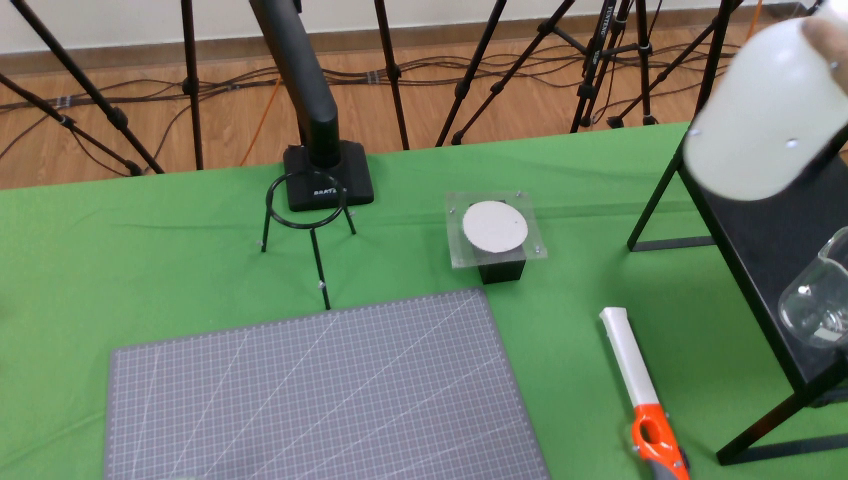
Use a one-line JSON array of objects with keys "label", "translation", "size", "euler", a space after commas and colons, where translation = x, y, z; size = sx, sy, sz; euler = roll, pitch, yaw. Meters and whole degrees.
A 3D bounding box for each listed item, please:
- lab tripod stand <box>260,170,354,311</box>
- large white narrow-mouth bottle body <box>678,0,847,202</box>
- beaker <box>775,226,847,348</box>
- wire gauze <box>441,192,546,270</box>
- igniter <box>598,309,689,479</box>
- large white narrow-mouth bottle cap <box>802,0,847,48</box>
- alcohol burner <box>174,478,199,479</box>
[{"label": "lab tripod stand", "translation": [-0.139, -0.006, 0.742], "size": [0.148, 0.132, 0.147], "euler": [4, 53, -4]}, {"label": "large white narrow-mouth bottle body", "translation": [0.292, -0.118, 0.504], "size": [0.102, 0.196, 0.101], "euler": [-1, 63, 2]}, {"label": "beaker", "translation": [0.369, 0.045, 0.541], "size": [0.084, 0.101, 0.073], "euler": [9, 52, 3]}, {"label": "wire gauze", "translation": [0.087, -0.016, 0.787], "size": [0.122, 0.011, 0.124], "euler": [-2, 52, -7]}, {"label": "igniter", "translation": [0.252, 0.199, 0.686], "size": [0.057, 0.025, 0.273], "euler": [3, 51, -15]}, {"label": "large white narrow-mouth bottle cap", "translation": [0.290, -0.157, 0.427], "size": [0.038, 0.024, 0.037], "euler": [0, 64, 1]}, {"label": "alcohol burner", "translation": [-0.225, 0.250, 0.548], "size": [0.078, 0.120, 0.077], "euler": [4, 51, -4]}]
